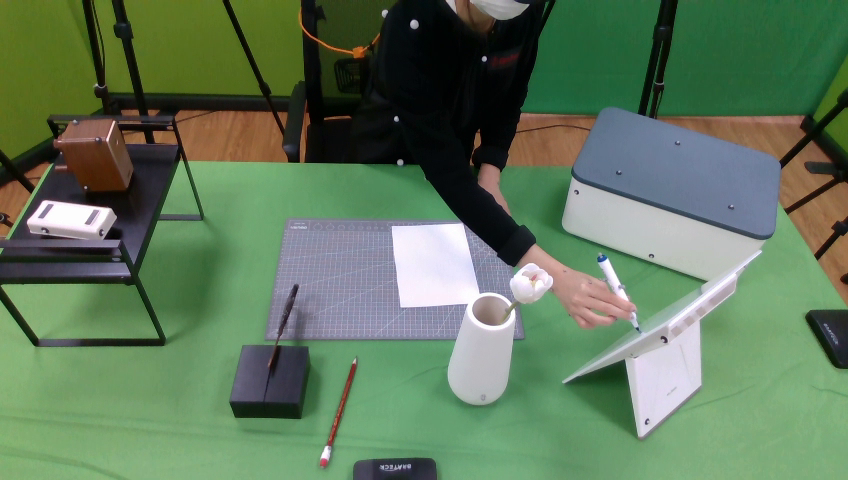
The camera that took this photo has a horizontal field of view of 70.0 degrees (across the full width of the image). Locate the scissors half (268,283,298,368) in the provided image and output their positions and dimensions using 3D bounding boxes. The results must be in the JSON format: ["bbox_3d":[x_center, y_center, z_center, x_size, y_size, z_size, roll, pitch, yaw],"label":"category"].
[{"bbox_3d":[-0.230,0.135,0.986,0.013,0.040,0.174,19,43,-11],"label":"scissors half"}]

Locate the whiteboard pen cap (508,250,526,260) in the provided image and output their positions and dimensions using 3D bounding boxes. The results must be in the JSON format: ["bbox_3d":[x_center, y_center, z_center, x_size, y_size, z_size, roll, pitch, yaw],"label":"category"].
[{"bbox_3d":[0.181,0.029,1.185,0.033,0.018,0.018,-4,47,-14],"label":"whiteboard pen cap"}]

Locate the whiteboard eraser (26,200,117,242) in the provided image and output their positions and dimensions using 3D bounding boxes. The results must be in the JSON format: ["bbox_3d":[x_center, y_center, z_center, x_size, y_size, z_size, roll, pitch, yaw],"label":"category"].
[{"bbox_3d":[-0.532,-0.026,0.919,0.113,0.042,0.055,7,45,3],"label":"whiteboard eraser"}]

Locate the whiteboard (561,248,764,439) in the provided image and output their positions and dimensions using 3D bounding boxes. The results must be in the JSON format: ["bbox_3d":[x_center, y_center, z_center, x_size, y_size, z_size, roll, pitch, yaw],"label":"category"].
[{"bbox_3d":[0.386,0.176,0.905,0.217,0.306,0.143,-26,72,-27],"label":"whiteboard"}]

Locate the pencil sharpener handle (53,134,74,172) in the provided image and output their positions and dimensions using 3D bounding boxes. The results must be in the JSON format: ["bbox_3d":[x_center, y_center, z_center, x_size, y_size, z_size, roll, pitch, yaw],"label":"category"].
[{"bbox_3d":[-0.577,-0.138,0.961,0.031,0.068,0.036,-4,34,-7],"label":"pencil sharpener handle"}]

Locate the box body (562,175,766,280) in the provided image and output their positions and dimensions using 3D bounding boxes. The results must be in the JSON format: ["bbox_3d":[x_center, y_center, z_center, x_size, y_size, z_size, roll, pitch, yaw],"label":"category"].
[{"bbox_3d":[0.486,-0.088,1.222,0.363,0.161,0.253,20,48,15],"label":"box body"}]

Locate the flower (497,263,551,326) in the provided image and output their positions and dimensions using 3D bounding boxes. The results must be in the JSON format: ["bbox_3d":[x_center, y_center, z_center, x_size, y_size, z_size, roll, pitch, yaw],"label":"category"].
[{"bbox_3d":[0.103,0.121,0.852,0.044,0.363,0.038,-1,64,-9],"label":"flower"}]

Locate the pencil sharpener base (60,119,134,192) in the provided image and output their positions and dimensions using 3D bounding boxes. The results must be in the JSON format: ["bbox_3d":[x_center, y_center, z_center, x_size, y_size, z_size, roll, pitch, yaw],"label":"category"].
[{"bbox_3d":[-0.528,-0.135,0.979,0.077,0.107,0.061,-4,47,-7],"label":"pencil sharpener base"}]

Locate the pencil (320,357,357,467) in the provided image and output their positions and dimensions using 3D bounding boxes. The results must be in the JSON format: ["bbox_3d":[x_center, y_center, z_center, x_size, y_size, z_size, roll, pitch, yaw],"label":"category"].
[{"bbox_3d":[-0.130,0.261,0.947,0.012,0.012,0.193,10,45,5],"label":"pencil"}]

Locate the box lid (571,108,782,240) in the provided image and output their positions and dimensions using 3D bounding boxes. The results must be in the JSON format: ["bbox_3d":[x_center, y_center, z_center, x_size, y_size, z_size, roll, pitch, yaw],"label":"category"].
[{"bbox_3d":[0.491,-0.139,1.168,0.370,0.015,0.262,21,49,15],"label":"box lid"}]

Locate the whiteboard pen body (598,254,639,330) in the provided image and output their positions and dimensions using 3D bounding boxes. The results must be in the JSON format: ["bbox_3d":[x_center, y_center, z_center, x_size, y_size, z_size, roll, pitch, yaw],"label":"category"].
[{"bbox_3d":[0.301,0.082,0.930,0.017,0.141,0.017,-28,16,9],"label":"whiteboard pen body"}]

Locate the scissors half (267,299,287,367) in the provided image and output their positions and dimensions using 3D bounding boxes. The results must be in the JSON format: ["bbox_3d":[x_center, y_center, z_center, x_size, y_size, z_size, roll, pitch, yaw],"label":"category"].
[{"bbox_3d":[-0.239,0.150,0.997,0.013,0.040,0.174,24,24,-13],"label":"scissors half"}]

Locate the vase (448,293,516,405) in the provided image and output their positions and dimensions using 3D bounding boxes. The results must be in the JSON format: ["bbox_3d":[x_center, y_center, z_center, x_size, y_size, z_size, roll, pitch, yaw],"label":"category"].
[{"bbox_3d":[0.091,0.169,0.921,0.098,0.201,0.097,3,47,-3],"label":"vase"}]
